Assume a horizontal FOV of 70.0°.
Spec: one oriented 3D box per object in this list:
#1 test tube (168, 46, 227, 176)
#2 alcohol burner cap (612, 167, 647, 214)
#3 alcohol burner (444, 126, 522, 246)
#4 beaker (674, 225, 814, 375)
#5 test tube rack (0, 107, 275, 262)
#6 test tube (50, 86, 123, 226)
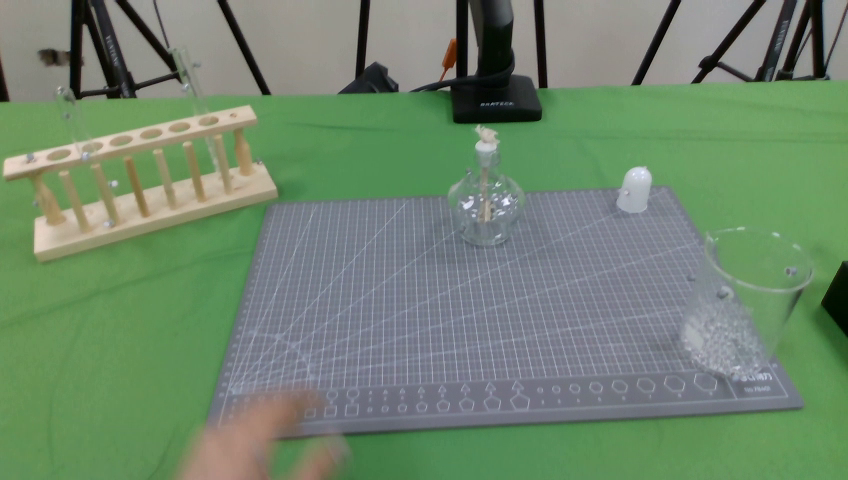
[{"bbox_3d":[-0.237,-0.131,0.640,0.017,0.151,0.017,-3,41,3],"label":"test tube"},{"bbox_3d":[0.221,-0.056,0.646,0.034,0.048,0.033,-1,39,1],"label":"alcohol burner cap"},{"bbox_3d":[0.058,-0.055,0.591,0.078,0.120,0.077,-2,38,2],"label":"alcohol burner"},{"bbox_3d":[0.239,0.048,0.471,0.074,0.101,0.083,-22,43,-23],"label":"beaker"},{"bbox_3d":[-0.291,-0.063,0.638,0.243,0.086,0.066,-18,42,-20],"label":"test tube rack"},{"bbox_3d":[-0.323,-0.077,0.584,0.017,0.152,0.017,-2,38,2],"label":"test tube"}]
